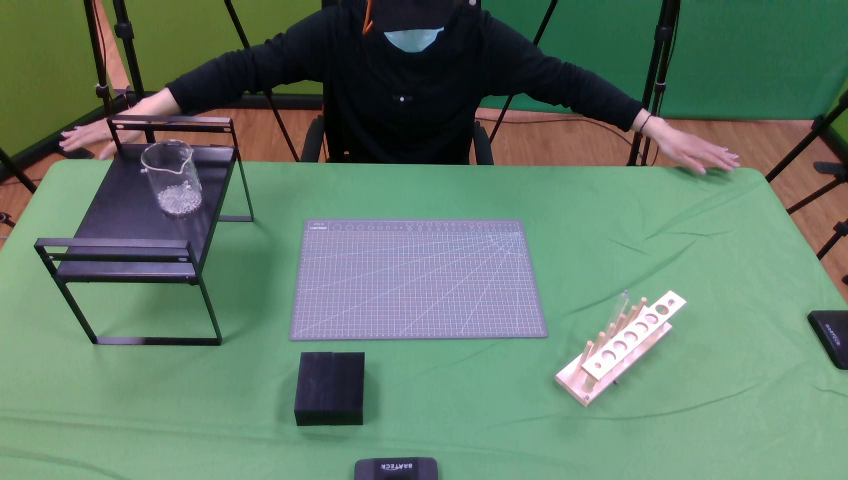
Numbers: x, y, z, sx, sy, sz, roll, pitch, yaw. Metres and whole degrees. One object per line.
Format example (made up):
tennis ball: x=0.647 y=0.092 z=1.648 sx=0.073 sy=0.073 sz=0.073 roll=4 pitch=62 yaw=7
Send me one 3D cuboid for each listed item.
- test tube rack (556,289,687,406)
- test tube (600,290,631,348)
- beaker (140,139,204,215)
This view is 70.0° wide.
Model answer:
test tube rack: x=0.332 y=0.165 z=1.014 sx=0.242 sy=0.085 sz=0.066 roll=-31 pitch=55 yaw=-28
test tube: x=0.309 y=0.131 z=0.983 sx=0.017 sy=0.151 sz=0.017 roll=1 pitch=48 yaw=-1
beaker: x=-0.391 y=-0.095 z=0.954 sx=0.074 sy=0.101 sz=0.083 roll=-30 pitch=56 yaw=-27
